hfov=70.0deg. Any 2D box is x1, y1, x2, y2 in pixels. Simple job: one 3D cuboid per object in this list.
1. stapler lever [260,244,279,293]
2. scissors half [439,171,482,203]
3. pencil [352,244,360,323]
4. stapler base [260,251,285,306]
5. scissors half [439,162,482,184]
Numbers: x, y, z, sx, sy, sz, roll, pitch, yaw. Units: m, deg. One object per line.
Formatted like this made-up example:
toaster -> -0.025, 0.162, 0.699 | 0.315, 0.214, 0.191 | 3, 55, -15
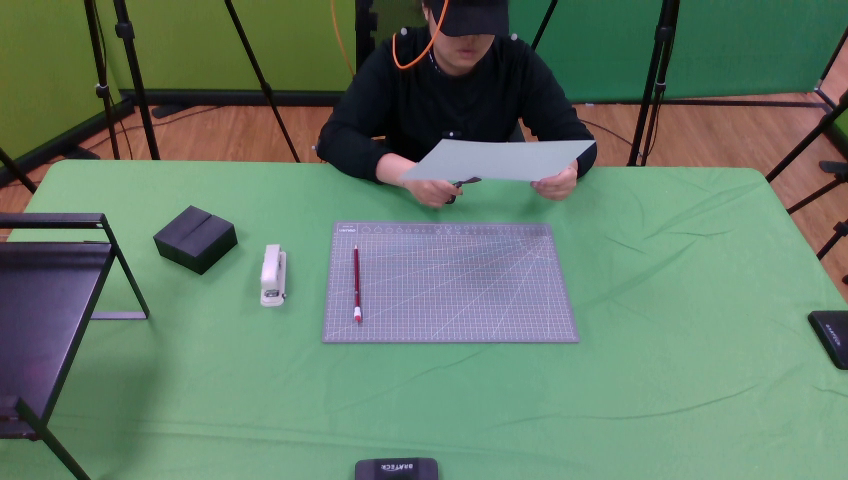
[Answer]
stapler lever -> -0.279, 0.045, 1.096 | 0.027, 0.040, 0.117 | -2, 44, -9
scissors half -> 0.071, -0.106, 1.185 | 0.013, 0.175, 0.040 | -5, 80, -24
pencil -> -0.127, 0.075, 1.119 | 0.012, 0.012, 0.192 | -2, 44, -7
stapler base -> -0.279, 0.064, 1.113 | 0.041, 0.024, 0.129 | -2, 44, -9
scissors half -> 0.071, -0.128, 1.184 | 0.013, 0.040, 0.174 | 0, 13, -25
